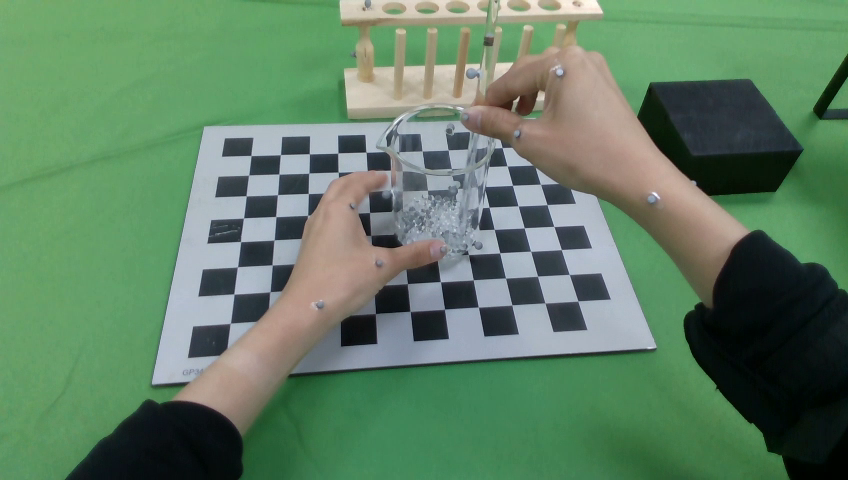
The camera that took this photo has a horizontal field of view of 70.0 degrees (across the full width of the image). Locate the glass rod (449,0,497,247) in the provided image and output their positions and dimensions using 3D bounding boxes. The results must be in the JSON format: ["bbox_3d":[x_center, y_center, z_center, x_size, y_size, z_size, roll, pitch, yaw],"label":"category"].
[{"bbox_3d":[0.030,-0.065,0.403,0.008,0.201,0.008,3,46,-3],"label":"glass rod"}]

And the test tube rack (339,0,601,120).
[{"bbox_3d":[0.044,-0.174,0.581,0.243,0.086,0.066,-4,50,-7],"label":"test tube rack"}]

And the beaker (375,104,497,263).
[{"bbox_3d":[0.008,-0.037,0.449,0.084,0.101,0.073,-3,49,-4],"label":"beaker"}]
